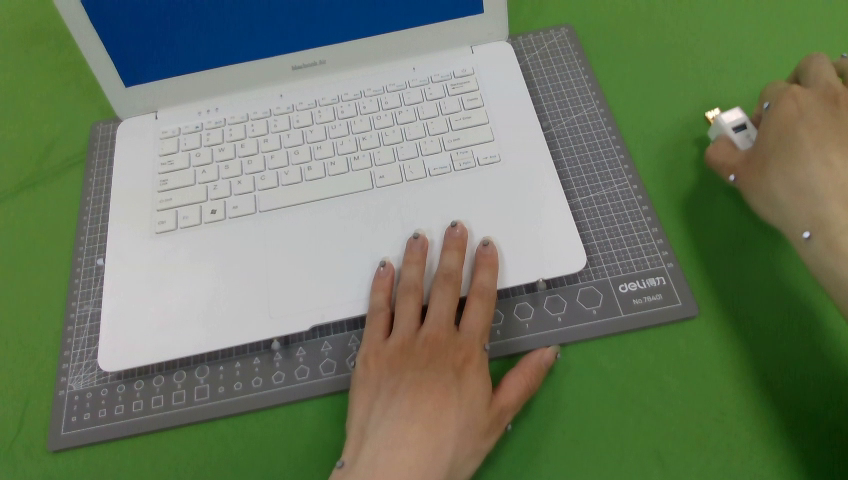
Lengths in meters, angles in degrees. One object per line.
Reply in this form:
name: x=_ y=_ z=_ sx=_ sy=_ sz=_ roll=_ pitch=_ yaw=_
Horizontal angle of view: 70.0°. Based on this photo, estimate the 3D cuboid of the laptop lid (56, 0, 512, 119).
laptop lid: x=-0.112 y=-0.225 z=0.462 sx=0.357 sy=0.244 sz=0.013 roll=-13 pitch=42 yaw=1

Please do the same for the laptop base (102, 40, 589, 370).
laptop base: x=-0.073 y=-0.040 z=0.484 sx=0.354 sy=0.023 sz=0.233 roll=-12 pitch=63 yaw=0

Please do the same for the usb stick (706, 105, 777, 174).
usb stick: x=0.234 y=-0.080 z=0.454 sx=0.021 sy=0.027 sz=0.058 roll=-24 pitch=62 yaw=-1
